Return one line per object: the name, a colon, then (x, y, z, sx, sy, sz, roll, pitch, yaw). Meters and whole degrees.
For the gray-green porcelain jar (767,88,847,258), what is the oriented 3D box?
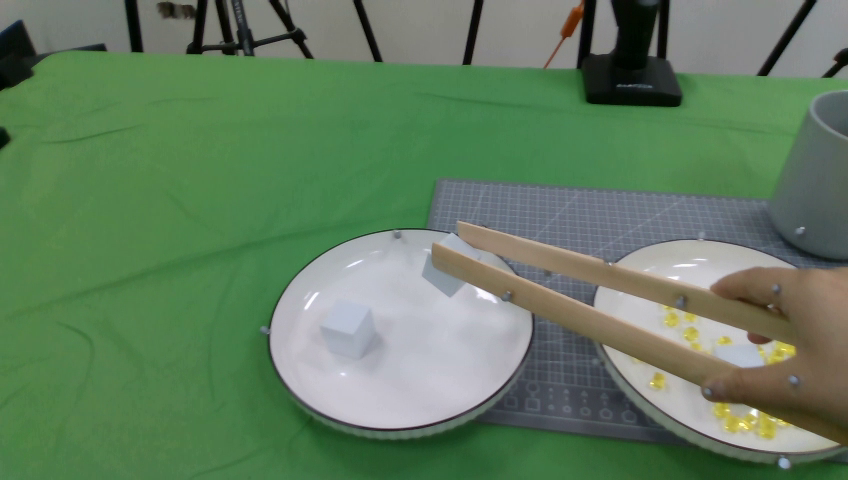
gray-green porcelain jar: (0.382, -0.056, 0.547, 0.106, 0.127, 0.105, -1, 42, 1)

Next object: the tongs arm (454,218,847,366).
tongs arm: (0.178, 0.054, 0.368, 0.382, 0.027, 0.050, 17, 44, 26)

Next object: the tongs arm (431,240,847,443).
tongs arm: (0.164, 0.067, 0.355, 0.384, 0.028, 0.028, 20, 42, 29)

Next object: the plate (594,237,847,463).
plate: (0.234, 0.080, 0.467, 0.208, 0.039, 0.205, -1, 42, 1)

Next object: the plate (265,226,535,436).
plate: (-0.018, 0.068, 0.486, 0.209, 0.038, 0.207, -2, 42, 2)
